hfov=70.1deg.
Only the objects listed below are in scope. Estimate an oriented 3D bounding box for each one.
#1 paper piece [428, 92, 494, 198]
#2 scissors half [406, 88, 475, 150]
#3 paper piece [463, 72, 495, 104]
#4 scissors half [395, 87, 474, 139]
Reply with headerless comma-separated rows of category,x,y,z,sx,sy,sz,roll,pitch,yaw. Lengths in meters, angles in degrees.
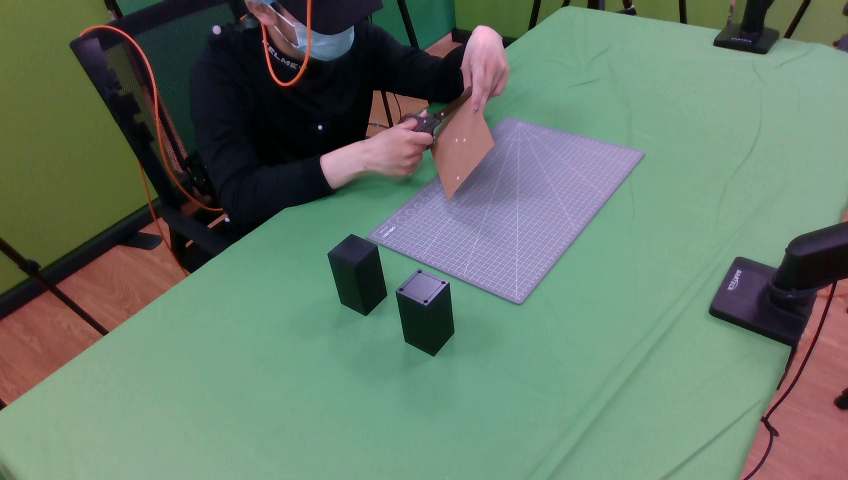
paper piece,0.059,-0.161,1.025,0.004,0.135,0.135,15,42,-33
scissors half,0.030,-0.213,1.071,0.040,0.174,0.013,41,38,-11
paper piece,0.080,-0.240,1.123,0.008,0.136,0.138,36,35,6
scissors half,0.016,-0.227,1.065,0.174,0.040,0.013,-22,29,31
